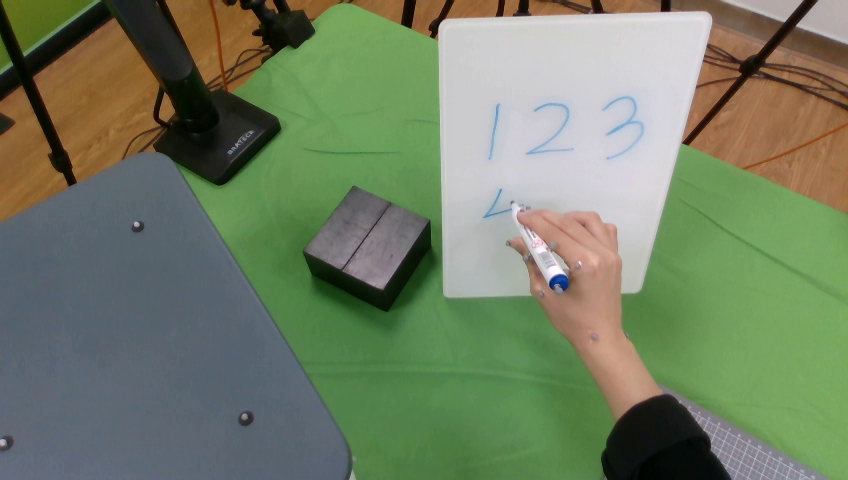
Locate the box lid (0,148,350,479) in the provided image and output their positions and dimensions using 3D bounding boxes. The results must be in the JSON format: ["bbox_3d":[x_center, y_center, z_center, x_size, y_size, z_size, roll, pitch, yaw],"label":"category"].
[{"bbox_3d":[-0.253,0.096,0.465,0.263,0.015,0.368,-32,64,-17],"label":"box lid"}]

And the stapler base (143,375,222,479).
[{"bbox_3d":[-0.232,0.187,0.566,0.041,0.025,0.129,2,61,23],"label":"stapler base"}]

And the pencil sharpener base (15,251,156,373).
[{"bbox_3d":[-0.327,0.074,0.590,0.076,0.108,0.061,-39,65,-19],"label":"pencil sharpener base"}]

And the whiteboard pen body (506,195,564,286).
[{"bbox_3d":[0.090,-0.006,0.517,0.017,0.017,0.139,-10,33,-5],"label":"whiteboard pen body"}]

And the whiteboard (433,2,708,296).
[{"bbox_3d":[0.120,-0.104,0.617,0.217,0.308,0.142,-1,40,1],"label":"whiteboard"}]

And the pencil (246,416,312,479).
[{"bbox_3d":[-0.171,0.232,0.547,0.012,0.012,0.193,32,54,19],"label":"pencil"}]

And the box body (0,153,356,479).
[{"bbox_3d":[-0.250,0.135,0.528,0.254,0.162,0.360,-32,64,-17],"label":"box body"}]

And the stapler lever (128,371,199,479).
[{"bbox_3d":[-0.239,0.176,0.546,0.026,0.040,0.117,2,60,24],"label":"stapler lever"}]

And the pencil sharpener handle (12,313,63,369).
[{"bbox_3d":[-0.365,0.098,0.563,0.030,0.068,0.035,-39,65,-19],"label":"pencil sharpener handle"}]
